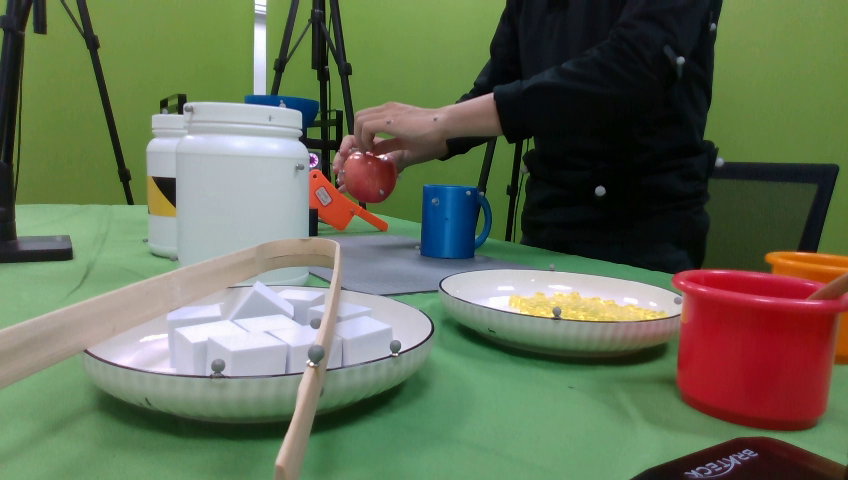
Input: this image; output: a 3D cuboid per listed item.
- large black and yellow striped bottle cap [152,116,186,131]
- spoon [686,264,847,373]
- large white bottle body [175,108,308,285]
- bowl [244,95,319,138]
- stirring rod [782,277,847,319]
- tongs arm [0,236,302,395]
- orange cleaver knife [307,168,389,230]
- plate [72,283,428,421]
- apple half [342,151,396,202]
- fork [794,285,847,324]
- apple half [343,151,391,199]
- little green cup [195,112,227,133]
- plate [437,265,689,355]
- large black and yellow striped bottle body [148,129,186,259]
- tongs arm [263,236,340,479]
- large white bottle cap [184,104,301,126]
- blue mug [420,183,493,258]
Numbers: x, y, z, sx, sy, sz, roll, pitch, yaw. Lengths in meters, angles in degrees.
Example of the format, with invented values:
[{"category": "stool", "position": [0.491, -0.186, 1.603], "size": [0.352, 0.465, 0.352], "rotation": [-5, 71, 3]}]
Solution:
[{"category": "large black and yellow striped bottle cap", "position": [-0.309, -0.155, 0.826], "size": [0.115, 0.019, 0.115], "rotation": [3, 6, 0]}, {"category": "spoon", "position": [0.214, 0.032, 0.328], "size": [0.042, 0.021, 0.193], "rotation": [-3, -35, -26]}, {"category": "large white bottle body", "position": [-0.188, -0.042, 0.630], "size": [0.131, 0.184, 0.130], "rotation": [2, 8, 0]}, {"category": "bowl", "position": [-0.293, -0.251, 1.249], "size": [0.151, 0.077, 0.151], "rotation": [2, 7, 0]}, {"category": "stirring rod", "position": [0.344, 0.019, 0.460], "size": [0.014, 0.006, 0.176], "rotation": [-13, -27, -30]}, {"category": "tongs arm", "position": [-0.158, 0.038, 0.351], "size": [0.028, 0.028, 0.388], "rotation": [-3, 8, 11]}, {"category": "orange cleaver knife", "position": [-0.158, -0.060, 1.166], "size": [0.212, 0.077, 0.012], "rotation": [34, -13, -32]}, {"category": "plate", "position": [-0.102, 0.067, 0.381], "size": [0.208, 0.039, 0.207], "rotation": [3, 7, 0]}, {"category": "apple half", "position": [-0.078, -0.092, 0.899], "size": [0.081, 0.074, 0.053], "rotation": [6, 19, -29]}, {"category": "fork", "position": [0.332, 0.018, 0.442], "size": [0.028, 0.018, 0.207], "rotation": [-1, -36, -16]}, {"category": "apple half", "position": [-0.093, -0.103, 0.931], "size": [0.082, 0.081, 0.032], "rotation": [-2, 20, -27]}, {"category": "little green cup", "position": [-0.412, -0.227, 1.171], "size": [0.061, 0.038, 0.061], "rotation": [3, 7, 0]}, {"category": "plate", "position": [0.114, 0.057, 0.517], "size": [0.209, 0.038, 0.209], "rotation": [3, 8, 0]}, {"category": "large black and yellow striped bottle body", "position": [-0.310, -0.073, 0.838], "size": [0.131, 0.184, 0.130], "rotation": [2, 8, 0]}, {"category": "tongs arm", "position": [-0.074, 0.039, 0.349], "size": [0.051, 0.026, 0.384], "rotation": [-2, 9, -3]}, {"category": "large white bottle cap", "position": [-0.184, -0.126, 0.618], "size": [0.115, 0.018, 0.115], "rotation": [2, 8, 0]}, {"category": "blue mug", "position": [0.052, -0.032, 0.912], "size": [0.117, 0.106, 0.082], "rotation": [-1, 8, -24]}]
